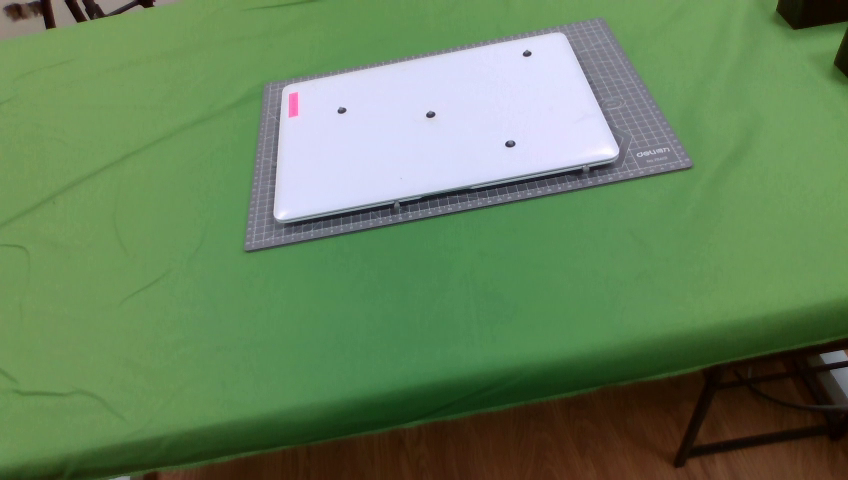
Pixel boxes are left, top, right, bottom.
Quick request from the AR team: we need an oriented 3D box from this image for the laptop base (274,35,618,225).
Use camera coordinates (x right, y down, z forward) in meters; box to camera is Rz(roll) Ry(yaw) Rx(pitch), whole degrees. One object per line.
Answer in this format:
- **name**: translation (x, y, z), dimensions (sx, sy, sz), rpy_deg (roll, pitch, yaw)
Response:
- **laptop base**: translation (0.009, -0.129, 0.681), dimensions (0.354, 0.023, 0.233), rpy_deg (-11, 51, 2)

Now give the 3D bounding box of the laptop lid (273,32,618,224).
- **laptop lid**: translation (0.008, -0.135, 0.670), dimensions (0.356, 0.013, 0.239), rpy_deg (-9, 50, 4)
